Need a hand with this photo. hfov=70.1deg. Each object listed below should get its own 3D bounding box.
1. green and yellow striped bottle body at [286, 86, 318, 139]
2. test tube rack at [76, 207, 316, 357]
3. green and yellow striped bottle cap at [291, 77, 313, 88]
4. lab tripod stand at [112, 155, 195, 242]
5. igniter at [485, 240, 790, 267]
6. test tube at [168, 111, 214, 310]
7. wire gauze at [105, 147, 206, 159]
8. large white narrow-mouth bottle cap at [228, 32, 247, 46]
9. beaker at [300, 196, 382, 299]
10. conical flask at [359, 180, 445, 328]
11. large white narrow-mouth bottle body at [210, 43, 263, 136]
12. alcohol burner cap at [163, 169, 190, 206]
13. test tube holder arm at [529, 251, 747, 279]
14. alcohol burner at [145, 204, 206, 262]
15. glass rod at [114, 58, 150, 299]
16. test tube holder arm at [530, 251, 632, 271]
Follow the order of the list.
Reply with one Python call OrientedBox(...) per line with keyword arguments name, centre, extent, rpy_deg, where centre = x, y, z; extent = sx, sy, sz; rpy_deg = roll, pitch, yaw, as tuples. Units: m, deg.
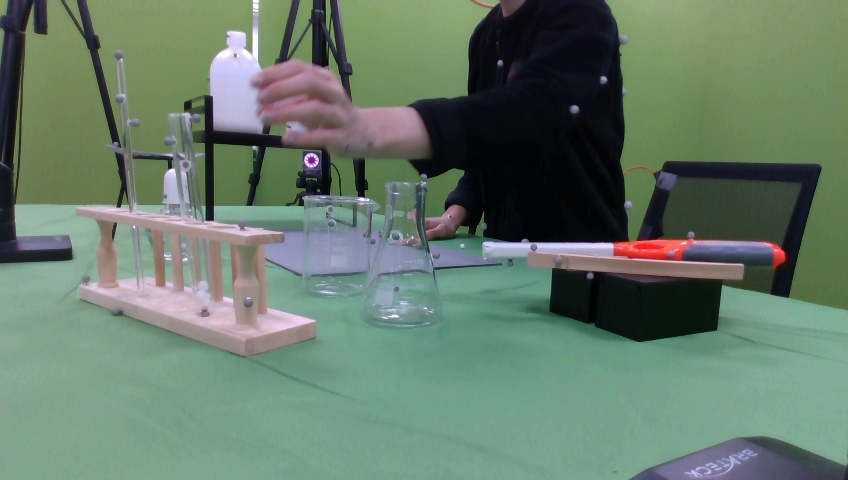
OrientedBox(name="green and yellow striped bottle body", centre=(-0.251, -0.270, 1.245), extent=(0.063, 0.119, 0.063), rpy_deg=(2, 7, 0))
OrientedBox(name="test tube rack", centre=(-0.196, 0.023, 0.500), extent=(0.241, 0.085, 0.067), rpy_deg=(8, 9, 36))
OrientedBox(name="green and yellow striped bottle cap", centre=(-0.250, -0.321, 1.237), extent=(0.045, 0.020, 0.045), rpy_deg=(4, 5, 0))
OrientedBox(name="lab tripod stand", centre=(-0.405, -0.064, 0.931), extent=(0.148, 0.131, 0.148), rpy_deg=(1, 6, 0))
OrientedBox(name="igniter", centre=(0.197, 0.012, 0.585), extent=(0.276, 0.025, 0.057), rpy_deg=(1, 5, 12))
OrientedBox(name="test tube", centre=(-0.174, -0.020, 0.454), extent=(0.017, 0.150, 0.017), rpy_deg=(-3, 11, 1))
OrientedBox(name="wire gauze", centre=(-0.408, -0.131, 0.929), extent=(0.125, 0.011, 0.121), rpy_deg=(2, 6, -11))
OrientedBox(name="large white narrow-mouth bottle cap", centre=(-0.364, -0.391, 1.180), extent=(0.038, 0.024, 0.037), rpy_deg=(3, 8, 0))
OrientedBox(name="beaker", centre=(-0.087, 0.006, 0.626), extent=(0.084, 0.100, 0.074), rpy_deg=(1, 8, -17))
OrientedBox(name="conical flask", centre=(-0.017, 0.010, 0.522), extent=(0.075, 0.122, 0.075), rpy_deg=(2, 7, 0))
OrientedBox(name="large white narrow-mouth bottle body", centre=(-0.369, -0.305, 1.194), extent=(0.102, 0.194, 0.102), rpy_deg=(3, 8, 0))
OrientedBox(name="alcohol burner cap", centre=(-0.321, -0.068, 0.782), extent=(0.034, 0.048, 0.034), rpy_deg=(1, 7, 0))
OrientedBox(name="test tube holder arm", centre=(0.182, 0.022, 0.523), extent=(0.178, 0.015, 0.013), rpy_deg=(3, 7, 12))
OrientedBox(name="alcohol burner", centre=(-0.322, -0.031, 0.788), extent=(0.078, 0.119, 0.078), rpy_deg=(0, 7, 0))
OrientedBox(name="glass rod", centre=(-0.237, -0.044, 0.492), extent=(0.008, 0.199, 0.008), rpy_deg=(1, 15, 0))
OrientedBox(name="test tube holder arm", centre=(0.139, 0.019, 0.538), extent=(0.087, 0.015, 0.010), rpy_deg=(3, 7, 13))
